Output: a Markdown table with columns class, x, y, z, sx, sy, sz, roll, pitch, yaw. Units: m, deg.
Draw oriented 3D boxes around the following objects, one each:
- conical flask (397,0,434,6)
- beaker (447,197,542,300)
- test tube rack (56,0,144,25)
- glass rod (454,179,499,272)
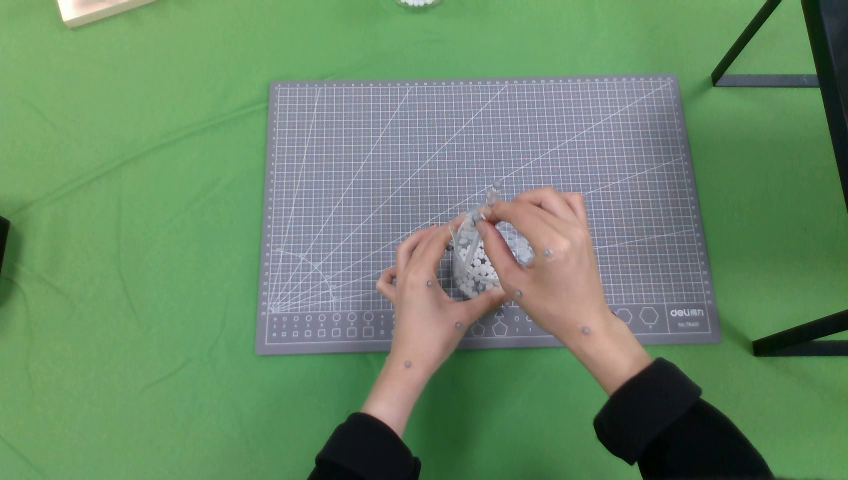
| class | x | y | z | sx | sy | sz | roll | pitch | yaw |
| --- | --- | --- | --- | --- | --- | --- | --- | --- | --- |
| conical flask | -0.010 | -0.321 | 0.653 | 0.075 | 0.122 | 0.075 | 0 | 72 | 0 |
| beaker | 0.059 | 0.012 | 0.560 | 0.084 | 0.101 | 0.073 | 23 | 73 | 7 |
| test tube rack | -0.306 | -0.329 | 0.671 | 0.242 | 0.085 | 0.066 | -22 | 74 | -7 |
| glass rod | 0.040 | -0.006 | 0.505 | 0.008 | 0.200 | 0.008 | 2 | 70 | -4 |
